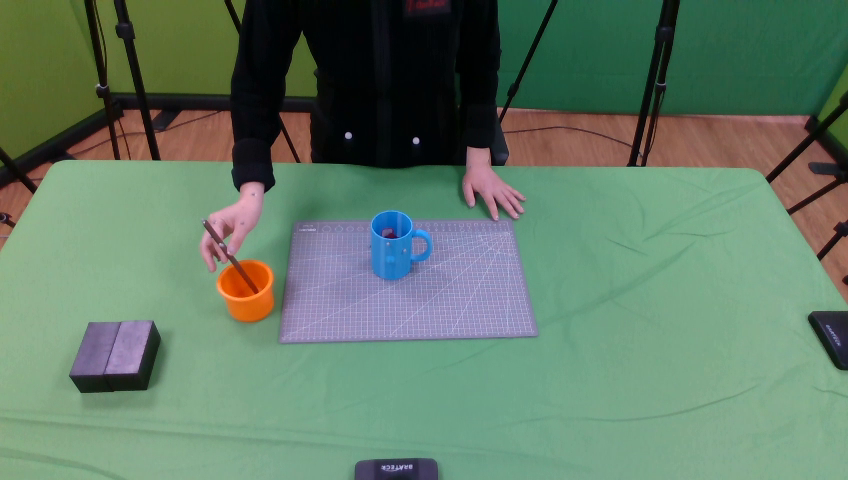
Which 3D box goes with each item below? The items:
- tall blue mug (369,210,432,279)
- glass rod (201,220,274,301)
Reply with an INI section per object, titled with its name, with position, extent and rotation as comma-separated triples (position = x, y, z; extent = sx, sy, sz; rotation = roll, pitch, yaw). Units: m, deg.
[tall blue mug]
position = -0.049, 0.005, 1.125
extent = 0.107, 0.108, 0.077
rotation = -19, 50, -21
[glass rod]
position = -0.309, 0.038, 1.015
extent = 0.008, 0.201, 0.008
rotation = -18, 39, 15
